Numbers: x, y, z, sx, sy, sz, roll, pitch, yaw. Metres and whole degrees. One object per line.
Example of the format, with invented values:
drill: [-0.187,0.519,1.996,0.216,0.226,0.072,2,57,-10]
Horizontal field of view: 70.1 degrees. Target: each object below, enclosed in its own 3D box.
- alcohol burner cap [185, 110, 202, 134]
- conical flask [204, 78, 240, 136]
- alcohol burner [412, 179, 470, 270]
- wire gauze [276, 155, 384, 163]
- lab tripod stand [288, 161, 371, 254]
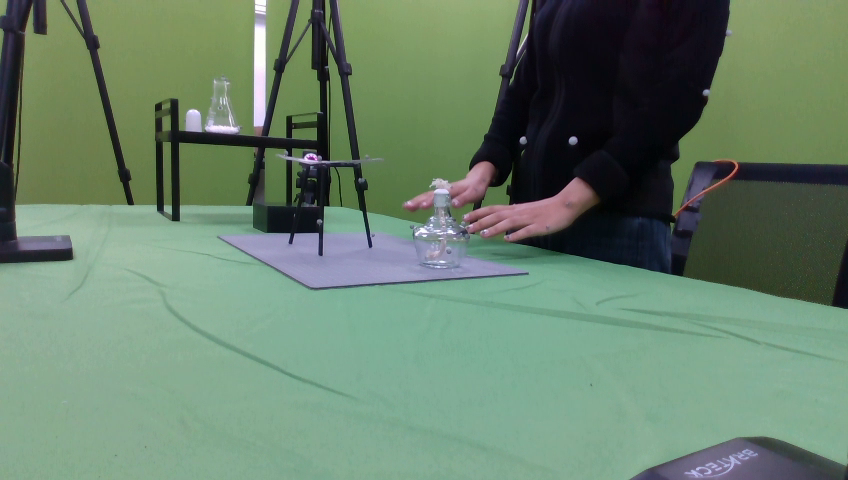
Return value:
alcohol burner cap: [-0.470,-0.241,1.234,0.034,0.048,0.034,3,7,0]
conical flask: [-0.443,-0.292,1.327,0.075,0.122,0.075,3,7,0]
alcohol burner: [0.022,-0.021,0.805,0.078,0.119,0.078,0,8,0]
wire gauze: [-0.142,-0.118,0.900,0.122,0.011,0.124,-3,8,-37]
lab tripod stand: [-0.148,-0.052,0.909,0.148,0.131,0.148,1,8,0]
